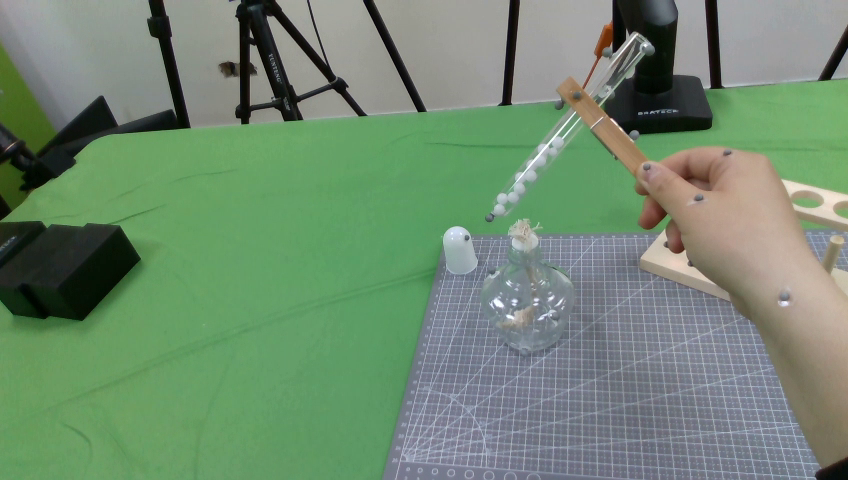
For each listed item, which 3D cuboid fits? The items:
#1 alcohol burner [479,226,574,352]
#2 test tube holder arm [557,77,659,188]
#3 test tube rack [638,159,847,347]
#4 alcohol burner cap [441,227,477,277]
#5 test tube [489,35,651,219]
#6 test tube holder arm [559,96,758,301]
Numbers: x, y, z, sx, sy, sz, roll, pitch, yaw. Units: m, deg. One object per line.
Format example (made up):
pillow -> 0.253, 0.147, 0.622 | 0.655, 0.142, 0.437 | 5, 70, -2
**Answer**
alcohol burner -> 0.081, 0.035, 0.486 | 0.078, 0.120, 0.077 | -7, 41, 6
test tube holder arm -> 0.119, -0.070, 0.396 | 0.015, 0.010, 0.087 | -41, 81, 15
test tube rack -> 0.298, 0.016, 0.472 | 0.240, 0.086, 0.066 | 23, 51, 37
alcohol burner cap -> 0.033, 0.009, 0.588 | 0.034, 0.048, 0.033 | -7, 40, 6
test tube -> 0.096, -0.073, 0.411 | 0.150, 0.017, 0.017 | -50, 37, 17
test tube holder arm -> 0.147, -0.035, 0.391 | 0.015, 0.013, 0.177 | -41, 73, 16
